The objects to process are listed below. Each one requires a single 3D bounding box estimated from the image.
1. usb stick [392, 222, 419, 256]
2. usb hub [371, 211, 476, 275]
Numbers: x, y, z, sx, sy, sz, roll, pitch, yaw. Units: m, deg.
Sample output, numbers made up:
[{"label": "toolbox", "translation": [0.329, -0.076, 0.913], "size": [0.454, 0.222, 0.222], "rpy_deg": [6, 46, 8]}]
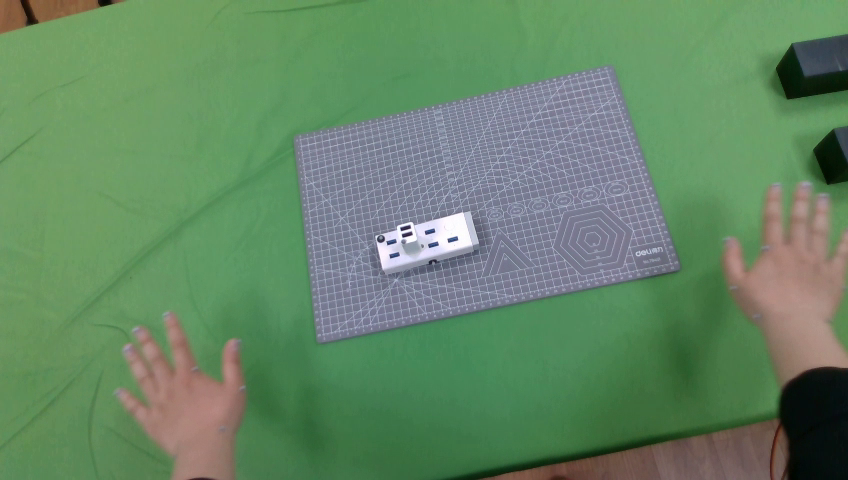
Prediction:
[{"label": "usb stick", "translation": [-0.021, 0.002, 0.732], "size": [0.021, 0.059, 0.027], "rpy_deg": [-19, 67, 2]}, {"label": "usb hub", "translation": [-0.001, 0.003, 0.760], "size": [0.125, 0.025, 0.049], "rpy_deg": [-15, 69, 1]}]
